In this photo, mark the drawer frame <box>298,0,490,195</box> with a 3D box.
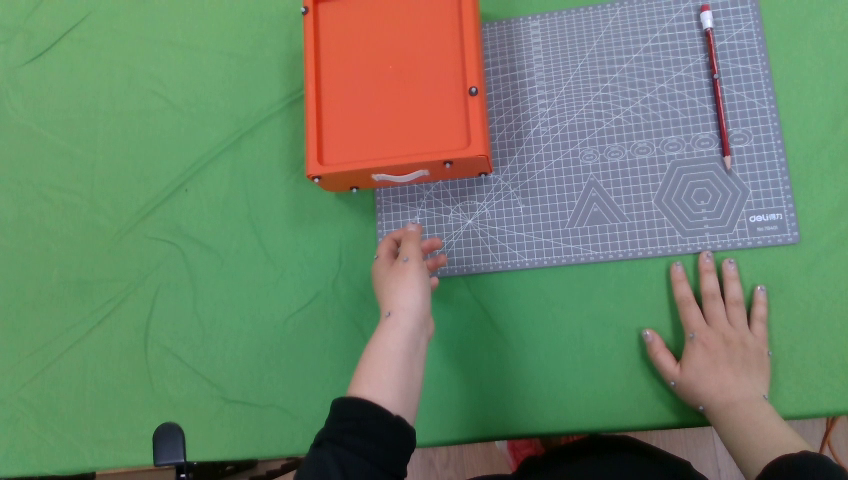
[{"bbox_3d":[-0.036,-0.170,0.688,0.201,0.083,0.212,-7,79,10],"label":"drawer frame"}]

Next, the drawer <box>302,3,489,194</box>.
[{"bbox_3d":[-0.034,-0.168,0.688,0.194,0.073,0.211,-6,79,10],"label":"drawer"}]

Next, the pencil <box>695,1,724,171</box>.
[{"bbox_3d":[0.314,-0.169,0.663,0.012,0.012,0.193,-5,82,10],"label":"pencil"}]
